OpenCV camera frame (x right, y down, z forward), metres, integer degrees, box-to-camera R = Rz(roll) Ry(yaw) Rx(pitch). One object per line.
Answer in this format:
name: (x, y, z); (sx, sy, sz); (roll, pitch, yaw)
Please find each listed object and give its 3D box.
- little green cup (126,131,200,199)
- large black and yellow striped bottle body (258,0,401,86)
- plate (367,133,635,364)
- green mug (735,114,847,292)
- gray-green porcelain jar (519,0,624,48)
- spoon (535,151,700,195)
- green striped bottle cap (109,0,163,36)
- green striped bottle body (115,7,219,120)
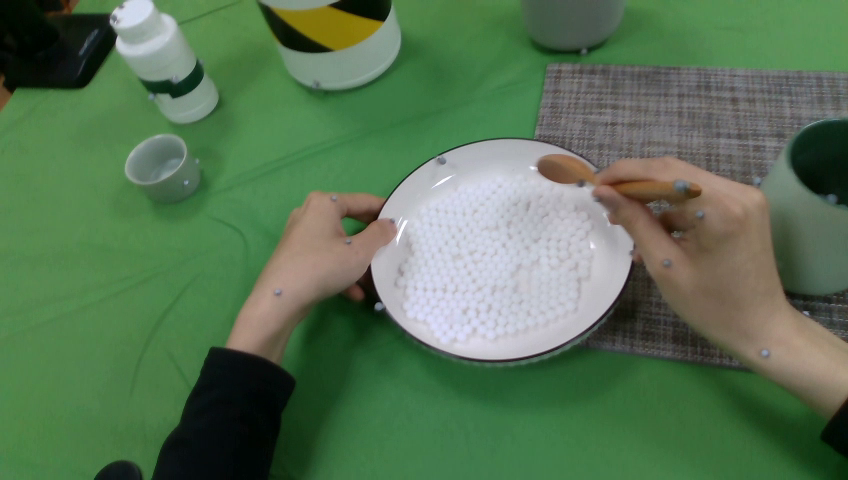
little green cup: (-0.251, -0.071, 0.589); (0.061, 0.039, 0.061); (-5, 56, 7)
large black and yellow striped bottle body: (-0.102, -0.260, 0.593); (0.130, 0.186, 0.129); (-4, 58, 8)
plate: (0.059, 0.004, 0.485); (0.209, 0.038, 0.207); (-6, 57, 9)
green mug: (0.290, -0.015, 0.415); (0.124, 0.106, 0.092); (28, 66, 24)
gray-green porcelain jar: (0.144, -0.262, 0.586); (0.106, 0.128, 0.105); (-4, 58, 7)
spoon: (0.124, -0.043, 0.411); (0.042, 0.192, 0.021); (28, 96, -16)
green striped bottle cap: (-0.271, -0.213, 0.570); (0.044, 0.020, 0.044); (-3, 60, 5)
green striped bottle body: (-0.263, -0.184, 0.613); (0.063, 0.120, 0.062); (-5, 57, 8)
